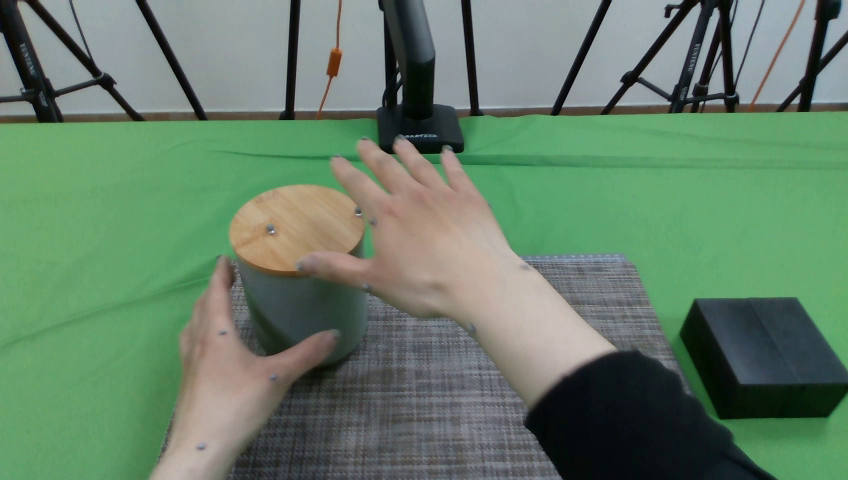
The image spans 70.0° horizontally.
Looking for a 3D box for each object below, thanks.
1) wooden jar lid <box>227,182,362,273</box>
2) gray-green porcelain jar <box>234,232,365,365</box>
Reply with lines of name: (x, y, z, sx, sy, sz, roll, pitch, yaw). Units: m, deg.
wooden jar lid: (-0.105, -0.009, 0.497, 0.108, 0.021, 0.107, 3, 43, -3)
gray-green porcelain jar: (-0.106, 0.039, 0.537, 0.106, 0.127, 0.105, 2, 40, -1)
